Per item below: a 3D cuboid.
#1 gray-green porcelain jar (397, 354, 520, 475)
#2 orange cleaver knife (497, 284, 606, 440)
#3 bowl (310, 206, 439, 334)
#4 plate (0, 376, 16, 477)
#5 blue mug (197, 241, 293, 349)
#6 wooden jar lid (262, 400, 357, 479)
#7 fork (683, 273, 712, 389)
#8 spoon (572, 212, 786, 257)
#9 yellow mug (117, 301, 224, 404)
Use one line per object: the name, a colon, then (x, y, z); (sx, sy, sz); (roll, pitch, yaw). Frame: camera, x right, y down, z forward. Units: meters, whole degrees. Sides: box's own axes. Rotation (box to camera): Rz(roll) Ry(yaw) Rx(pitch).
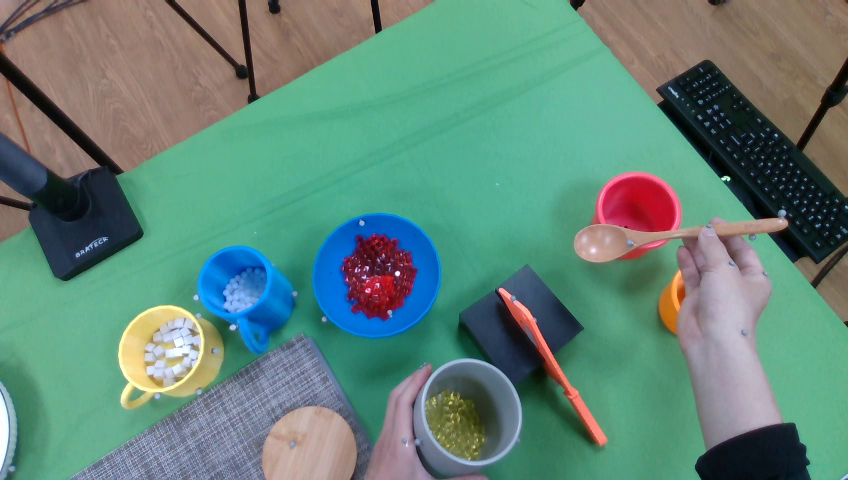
gray-green porcelain jar: (0.031, 0.191, 0.648); (0.106, 0.127, 0.105); (7, 60, -13)
orange cleaver knife: (0.144, 0.139, 0.692); (0.012, 0.077, 0.212); (-35, 104, -9)
bowl: (-0.055, 0.045, 0.731); (0.151, 0.077, 0.150); (-1, 73, 2)
plate: (-0.578, 0.236, 0.710); (0.207, 0.039, 0.206); (0, 73, 2)
blue mug: (-0.205, 0.071, 0.714); (0.082, 0.106, 0.116); (-12, 72, -2)
wooden jar lid: (-0.130, 0.241, 0.698); (0.108, 0.021, 0.108); (0, 74, 2)
fork: (0.303, 0.093, 0.666); (0.028, 0.019, 0.206); (27, 31, 5)
spoon: (0.240, -0.009, 0.589); (0.193, 0.022, 0.041); (-7, 73, 34)
yellow mug: (-0.307, 0.140, 0.716); (0.099, 0.064, 0.130); (34, 78, 12)
